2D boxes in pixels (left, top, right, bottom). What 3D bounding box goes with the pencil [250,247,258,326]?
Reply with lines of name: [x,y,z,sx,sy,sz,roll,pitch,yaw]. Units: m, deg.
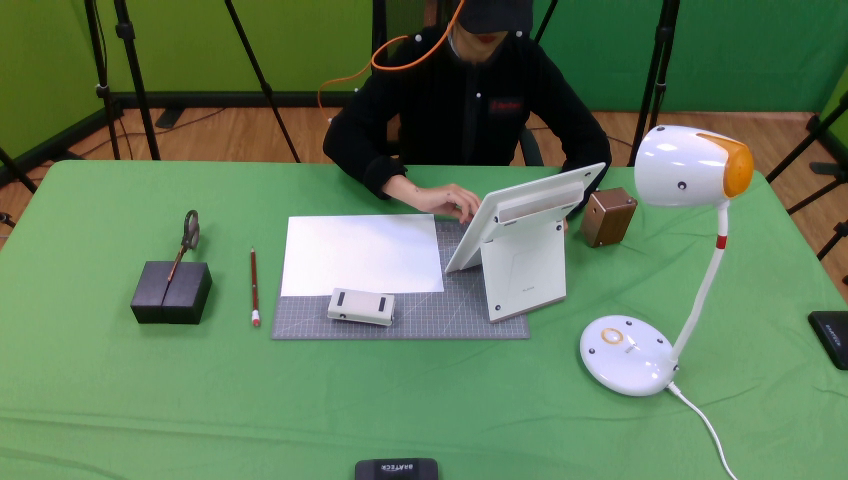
pencil: [-0.312,0.079,1.107,0.012,0.012,0.192,-7,46,-11]

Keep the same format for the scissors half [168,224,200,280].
scissors half: [-0.440,0.023,1.111,0.013,0.040,0.174,7,29,-6]

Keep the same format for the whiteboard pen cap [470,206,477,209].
whiteboard pen cap: [0.113,-0.073,1.280,0.033,0.018,0.018,4,46,6]

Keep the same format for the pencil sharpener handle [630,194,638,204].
pencil sharpener handle: [0.417,-0.068,1.215,0.031,0.068,0.036,-11,60,-14]

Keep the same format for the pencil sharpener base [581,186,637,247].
pencil sharpener base: [0.369,-0.047,1.209,0.077,0.107,0.061,-11,47,-14]

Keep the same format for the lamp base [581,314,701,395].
lamp base: [0.361,0.144,0.973,0.178,0.181,0.160,34,53,23]

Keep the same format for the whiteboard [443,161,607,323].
whiteboard: [0.185,0.025,1.029,0.217,0.306,0.143,-15,68,-18]

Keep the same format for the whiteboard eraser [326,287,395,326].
whiteboard eraser: [-0.110,0.118,1.057,0.113,0.042,0.055,7,45,2]

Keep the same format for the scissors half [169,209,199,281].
scissors half: [-0.438,0.007,1.098,0.013,0.040,0.174,3,48,-3]

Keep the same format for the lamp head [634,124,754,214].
lamp head: [0.351,-0.089,0.776,0.112,0.113,0.122,-30,30,-28]

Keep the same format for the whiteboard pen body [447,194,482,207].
whiteboard pen body: [0.108,-0.073,1.216,0.140,0.017,0.017,14,45,31]
